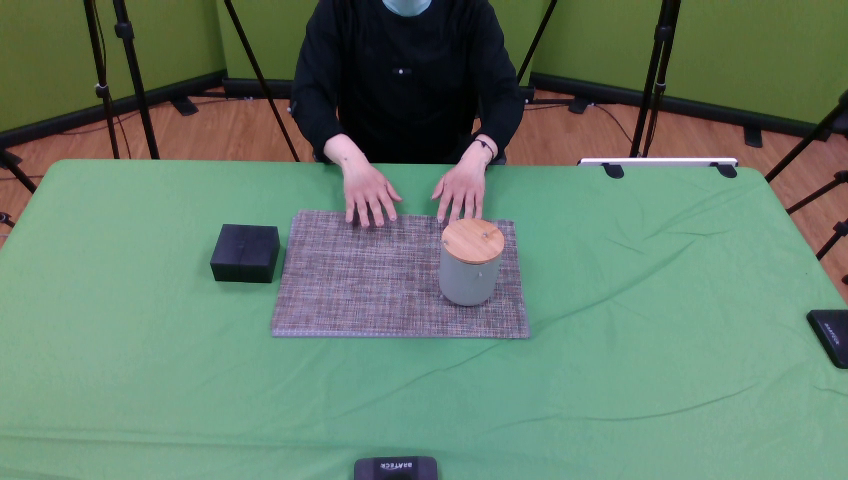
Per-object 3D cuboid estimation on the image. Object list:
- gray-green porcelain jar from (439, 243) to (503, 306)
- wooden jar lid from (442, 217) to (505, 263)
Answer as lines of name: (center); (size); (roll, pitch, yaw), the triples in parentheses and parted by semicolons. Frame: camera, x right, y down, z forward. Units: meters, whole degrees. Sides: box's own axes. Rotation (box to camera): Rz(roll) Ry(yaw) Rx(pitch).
gray-green porcelain jar: (0.081, 0.046, 1.078); (0.106, 0.127, 0.105); (2, 46, -2)
wooden jar lid: (0.084, 0.003, 1.033); (0.108, 0.021, 0.107); (1, 43, -1)
